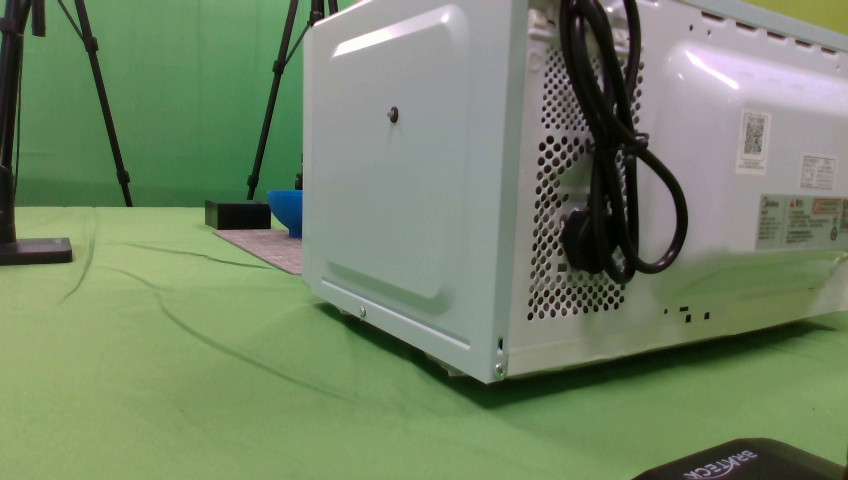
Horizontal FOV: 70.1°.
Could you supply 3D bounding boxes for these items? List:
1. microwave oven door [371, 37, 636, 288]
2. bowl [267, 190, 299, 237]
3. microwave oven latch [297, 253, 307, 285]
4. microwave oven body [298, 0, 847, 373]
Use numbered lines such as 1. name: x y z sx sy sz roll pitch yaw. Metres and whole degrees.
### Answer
1. microwave oven door: 0.109 -0.080 0.687 0.358 0.243 0.039 -2 9 -33
2. bowl: -0.202 -0.046 1.069 0.151 0.077 0.151 3 7 0
3. microwave oven latch: -0.082 0.027 0.582 0.079 0.029 0.030 -1 7 -32
4. microwave oven body: 0.151 -0.055 0.543 0.444 0.260 0.324 -1 7 -33
